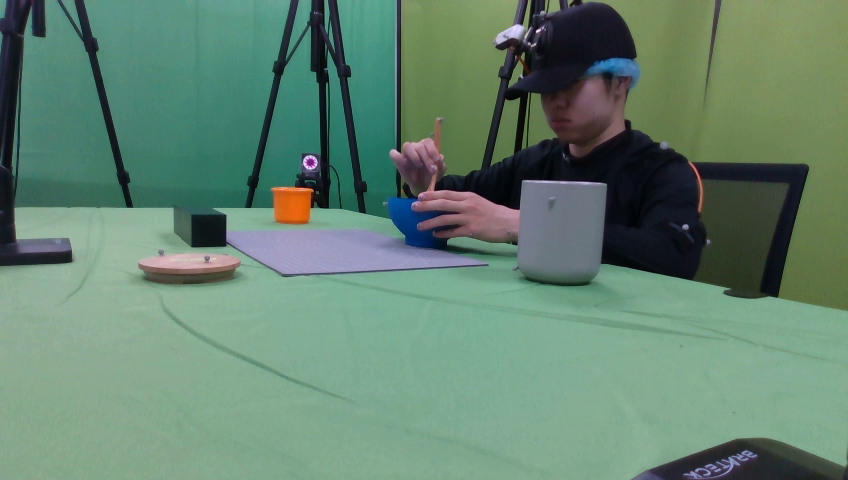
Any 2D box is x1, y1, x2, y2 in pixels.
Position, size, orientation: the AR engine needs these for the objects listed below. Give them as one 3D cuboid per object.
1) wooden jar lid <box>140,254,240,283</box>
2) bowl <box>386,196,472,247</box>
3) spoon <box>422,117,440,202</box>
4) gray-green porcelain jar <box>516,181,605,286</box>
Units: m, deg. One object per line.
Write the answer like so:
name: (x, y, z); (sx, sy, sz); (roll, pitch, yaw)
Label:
wooden jar lid: (-0.269, 0.032, 0.698); (0.108, 0.020, 0.108); (2, 5, 0)
bowl: (0.005, -0.030, 1.046); (0.151, 0.077, 0.151); (5, 5, 0)
spoon: (0.015, -0.120, 1.066); (0.022, 0.193, 0.041); (10, -4, -28)
gray-green porcelain jar: (0.172, -0.010, 0.768); (0.106, 0.126, 0.106); (2, 7, 0)
